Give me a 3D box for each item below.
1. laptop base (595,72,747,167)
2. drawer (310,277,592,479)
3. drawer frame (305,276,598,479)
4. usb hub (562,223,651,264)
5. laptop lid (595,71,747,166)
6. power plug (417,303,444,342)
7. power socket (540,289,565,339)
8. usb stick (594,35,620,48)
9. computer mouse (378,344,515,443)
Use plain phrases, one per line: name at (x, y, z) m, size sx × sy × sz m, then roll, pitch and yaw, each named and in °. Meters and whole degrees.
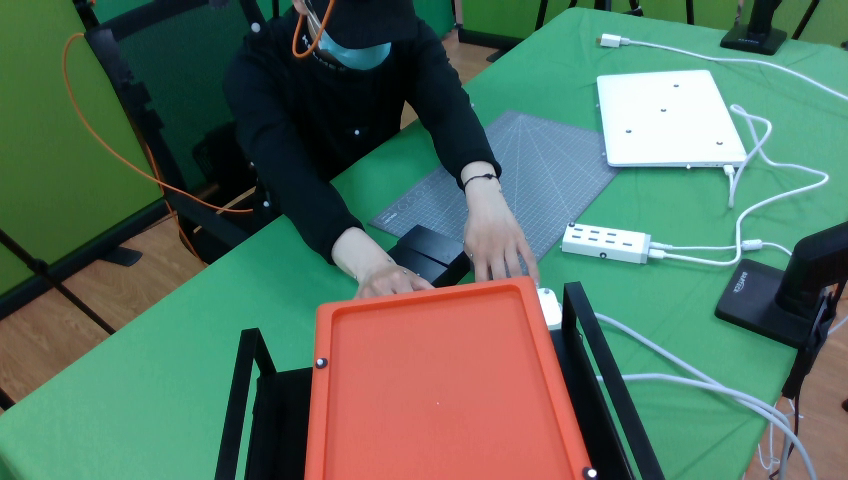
laptop base at (0.469, -0.239, 1.189) m, size 0.235 × 0.023 × 0.353 m, roll -1°, pitch 40°, yaw 12°
drawer at (0.013, 0.136, 0.489) m, size 0.195 × 0.073 × 0.210 m, roll -7°, pitch 41°, yaw 0°
drawer frame at (0.014, 0.137, 0.486) m, size 0.202 × 0.083 × 0.212 m, roll -8°, pitch 41°, yaw -1°
usb hub at (0.279, 0.004, 0.926) m, size 0.124 × 0.025 × 0.049 m, roll 10°, pitch 43°, yaw 19°
laptop lid at (0.465, -0.248, 1.181) m, size 0.241 × 0.013 × 0.355 m, roll 1°, pitch 41°, yaw 12°
power plug at (0.008, 0.113, 0.776) m, size 0.035 × 0.053 × 0.072 m, roll 0°, pitch 44°, yaw 4°
power socket at (0.081, 0.111, 0.823) m, size 0.227 × 0.033 × 0.072 m, roll -6°, pitch 41°, yaw 0°
usb stick at (0.443, -0.482, 1.467) m, size 0.059 × 0.021 × 0.027 m, roll 10°, pitch 43°, yaw 10°
computer mouse at (0.018, 0.126, 0.521) m, size 0.116 × 0.041 × 0.063 m, roll 13°, pitch 47°, yaw 29°
